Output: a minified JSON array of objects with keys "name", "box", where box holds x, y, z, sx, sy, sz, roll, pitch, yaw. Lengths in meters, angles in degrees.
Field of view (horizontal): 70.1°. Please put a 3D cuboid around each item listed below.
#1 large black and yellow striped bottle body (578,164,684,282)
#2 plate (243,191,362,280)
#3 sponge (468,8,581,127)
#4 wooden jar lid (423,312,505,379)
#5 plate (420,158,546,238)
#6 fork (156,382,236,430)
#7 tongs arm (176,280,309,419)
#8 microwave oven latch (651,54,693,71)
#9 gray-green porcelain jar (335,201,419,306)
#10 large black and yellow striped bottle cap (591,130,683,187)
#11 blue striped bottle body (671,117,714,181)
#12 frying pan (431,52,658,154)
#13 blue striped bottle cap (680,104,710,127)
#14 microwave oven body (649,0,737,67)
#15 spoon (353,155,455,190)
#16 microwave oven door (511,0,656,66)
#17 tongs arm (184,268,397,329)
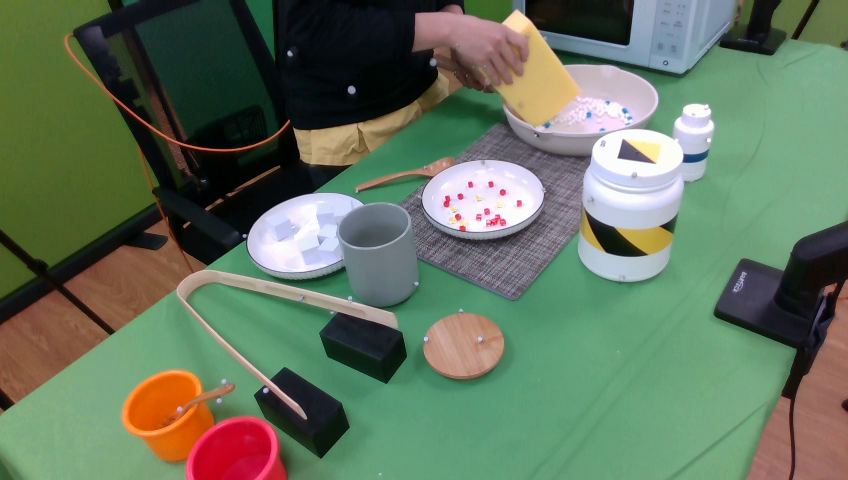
[{"name":"large black and yellow striped bottle body","box":[0.291,-0.046,0.859,0.131,0.185,0.130,-4,41,4]},{"name":"plate","box":[-0.188,-0.005,0.992,0.207,0.039,0.206,-4,41,4]},{"name":"sponge","box":[0.195,-0.318,1.145,0.118,0.209,0.060,-41,44,15]},{"name":"wooden jar lid","box":[0.053,0.142,0.800,0.108,0.021,0.108,-5,39,4]},{"name":"plate","box":[0.099,-0.067,1.017,0.209,0.038,0.208,-4,40,4]},{"name":"fork","box":[-0.262,0.190,0.690,0.018,0.206,0.028,49,43,-7]},{"name":"tongs arm","box":[-0.254,0.133,0.801,0.028,0.028,0.384,-41,41,-23]},{"name":"microwave oven latch","box":[0.531,-0.386,1.301,0.078,0.029,0.030,26,51,33]},{"name":"gray-green porcelain jar","box":[-0.064,0.024,0.872,0.106,0.127,0.105,-4,41,4]},{"name":"large black and yellow striped bottle cap","box":[0.282,-0.111,0.803,0.115,0.019,0.114,-3,41,3]},{"name":"blue striped bottle body","box":[0.449,-0.165,1.022,0.063,0.121,0.063,-4,41,4]},{"name":"frying pan","box":[0.216,-0.302,1.223,0.484,0.103,0.308,29,49,24]},{"name":"blue striped bottle cap","box":[0.443,-0.205,0.989,0.044,0.021,0.044,-1,41,2]},{"name":"microwave oven body","box":[0.475,-0.602,1.411,0.438,0.261,0.327,23,50,32]},{"name":"spoon","box":[-0.038,-0.123,1.116,0.194,0.022,0.041,-12,58,-4]},{"name":"microwave oven door","box":[0.351,-0.540,1.349,0.353,0.245,0.039,24,50,31]},{"name":"tongs arm","box":[-0.202,0.084,0.848,0.382,0.027,0.051,11,45,35]}]
